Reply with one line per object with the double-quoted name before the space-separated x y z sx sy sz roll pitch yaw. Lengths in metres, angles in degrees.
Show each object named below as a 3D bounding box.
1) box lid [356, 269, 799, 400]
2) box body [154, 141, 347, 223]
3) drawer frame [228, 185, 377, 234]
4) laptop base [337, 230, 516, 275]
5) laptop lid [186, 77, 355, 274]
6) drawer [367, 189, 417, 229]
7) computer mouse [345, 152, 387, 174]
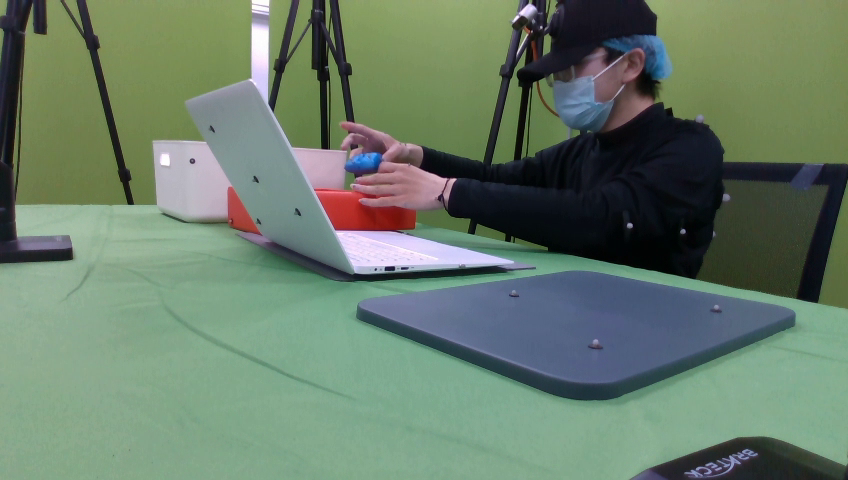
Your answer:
"box lid" 0.152 0.068 0.564 0.374 0.015 0.262 -4 10 -41
"box body" -0.384 -0.132 1.347 0.366 0.160 0.253 -3 9 -36
"drawer frame" -0.229 -0.060 1.136 0.215 0.082 0.200 -4 9 -38
"laptop base" -0.065 0.014 0.877 0.237 0.023 0.352 2 6 -32
"laptop lid" -0.211 -0.081 0.772 0.013 0.242 0.355 -35 25 -23
"drawer" -0.152 -0.062 1.193 0.213 0.073 0.193 -4 9 -36
"computer mouse" -0.114 -0.154 1.202 0.063 0.041 0.117 -2 6 10
